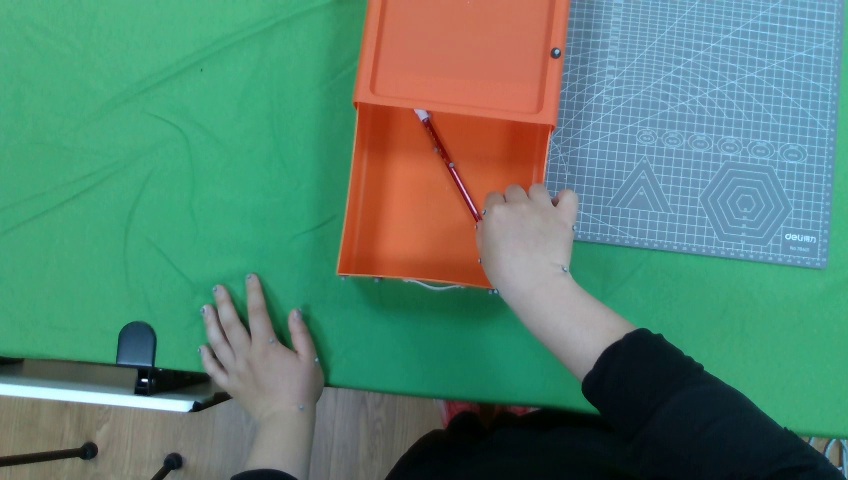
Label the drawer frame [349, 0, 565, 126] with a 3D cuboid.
[{"bbox_3d":[0.038,-0.224,0.622,0.201,0.083,0.213,6,85,2],"label":"drawer frame"}]

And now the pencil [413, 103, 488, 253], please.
[{"bbox_3d":[0.027,-0.074,0.641,0.012,0.012,0.194,-25,88,0],"label":"pencil"}]

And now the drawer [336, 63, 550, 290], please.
[{"bbox_3d":[0.022,-0.060,0.614,0.194,0.073,0.211,6,88,3],"label":"drawer"}]
